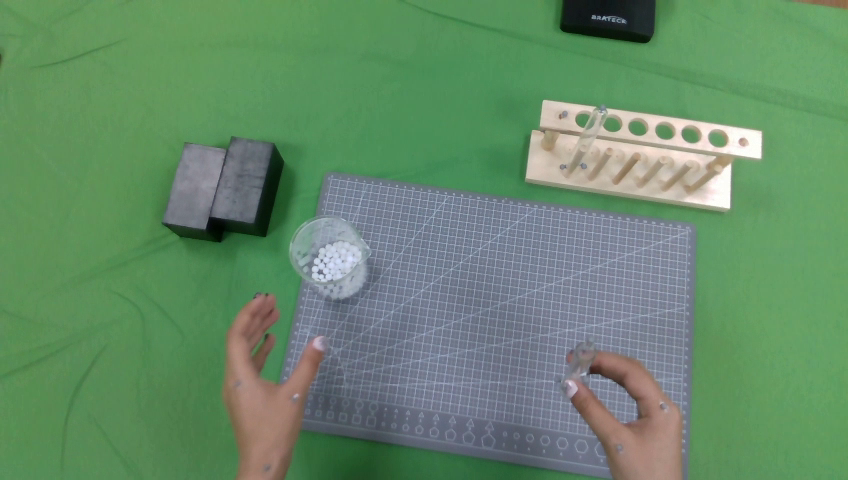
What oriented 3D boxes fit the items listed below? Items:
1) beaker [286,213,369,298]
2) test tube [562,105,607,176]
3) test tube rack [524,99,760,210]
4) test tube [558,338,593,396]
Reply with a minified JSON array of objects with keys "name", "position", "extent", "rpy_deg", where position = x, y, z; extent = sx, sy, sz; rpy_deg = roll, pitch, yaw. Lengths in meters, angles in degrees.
[{"name":"beaker","position":[-0.098,0.021,0.658],"extent":[0.084,0.101,0.073],"rpy_deg":[1,74,0]},{"name":"test tube","position":[0.172,-0.105,0.659],"extent":[0.017,0.151,0.017],"rpy_deg":[0,73,1]},{"name":"test tube rack","position":[0.246,-0.098,0.704],"extent":[0.242,0.085,0.066],"rpy_deg":[9,74,2]},{"name":"test tube","position":[0.127,0.111,0.515],"extent":[0.017,0.152,0.017],"rpy_deg":[-3,64,6]}]
